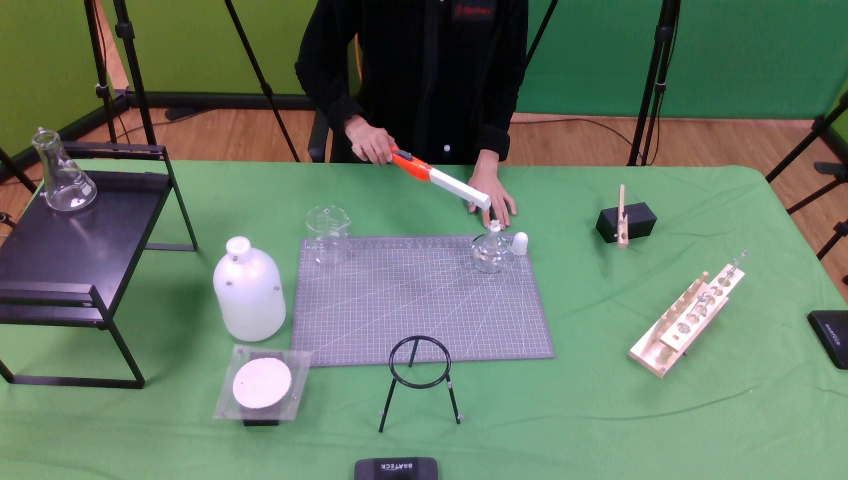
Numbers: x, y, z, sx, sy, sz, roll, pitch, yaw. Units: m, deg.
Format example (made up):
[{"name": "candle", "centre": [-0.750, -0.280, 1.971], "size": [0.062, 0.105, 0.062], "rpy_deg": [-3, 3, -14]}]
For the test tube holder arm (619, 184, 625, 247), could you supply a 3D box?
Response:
[{"name": "test tube holder arm", "centre": [0.396, -0.053, 1.210], "size": [0.013, 0.015, 0.177], "rpy_deg": [14, 46, 2]}]

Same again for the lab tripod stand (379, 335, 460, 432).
[{"name": "lab tripod stand", "centre": [-0.011, 0.214, 0.911], "size": [0.148, 0.132, 0.147], "rpy_deg": [1, 45, 0]}]

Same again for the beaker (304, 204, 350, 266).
[{"name": "beaker", "centre": [-0.178, -0.006, 1.132], "size": [0.084, 0.101, 0.073], "rpy_deg": [4, 46, -1]}]

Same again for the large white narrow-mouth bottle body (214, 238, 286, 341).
[{"name": "large white narrow-mouth bottle body", "centre": [-0.285, 0.073, 0.986], "size": [0.102, 0.195, 0.101], "rpy_deg": [2, 46, -2]}]

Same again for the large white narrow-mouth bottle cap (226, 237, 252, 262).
[{"name": "large white narrow-mouth bottle cap", "centre": [-0.282, 0.014, 0.923], "size": [0.038, 0.024, 0.037], "rpy_deg": [2, 46, -2]}]

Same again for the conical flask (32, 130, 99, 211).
[{"name": "conical flask", "centre": [-0.565, -0.111, 0.944], "size": [0.075, 0.122, 0.075], "rpy_deg": [2, 46, -2]}]

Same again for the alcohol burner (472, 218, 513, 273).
[{"name": "alcohol burner", "centre": [0.128, 0.005, 1.132], "size": [0.078, 0.120, 0.077], "rpy_deg": [0, 47, 0]}]

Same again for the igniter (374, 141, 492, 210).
[{"name": "igniter", "centre": [0.009, -0.124, 1.120], "size": [0.275, 0.057, 0.025], "rpy_deg": [29, 67, 29]}]

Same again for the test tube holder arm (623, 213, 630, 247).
[{"name": "test tube holder arm", "centre": [0.393, -0.020, 1.179], "size": [0.010, 0.015, 0.087], "rpy_deg": [14, 46, 1]}]

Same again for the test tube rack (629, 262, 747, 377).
[{"name": "test tube rack", "centre": [0.464, 0.126, 1.060], "size": [0.242, 0.085, 0.066], "rpy_deg": [-34, 56, -30]}]

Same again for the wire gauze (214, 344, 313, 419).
[{"name": "wire gauze", "centre": [-0.241, 0.213, 0.915], "size": [0.121, 0.011, 0.124], "rpy_deg": [5, 46, 1]}]

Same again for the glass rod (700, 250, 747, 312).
[{"name": "glass rod", "centre": [0.500, 0.075, 1.021], "size": [0.008, 0.201, 0.008], "rpy_deg": [0, 55, 1]}]

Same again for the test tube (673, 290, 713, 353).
[{"name": "test tube", "centre": [0.429, 0.135, 0.981], "size": [0.017, 0.151, 0.017], "rpy_deg": [4, 44, -4]}]

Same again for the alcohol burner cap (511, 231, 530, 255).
[{"name": "alcohol burner cap", "centre": [0.191, 0.003, 1.188], "size": [0.034, 0.048, 0.033], "rpy_deg": [3, 45, -3]}]
